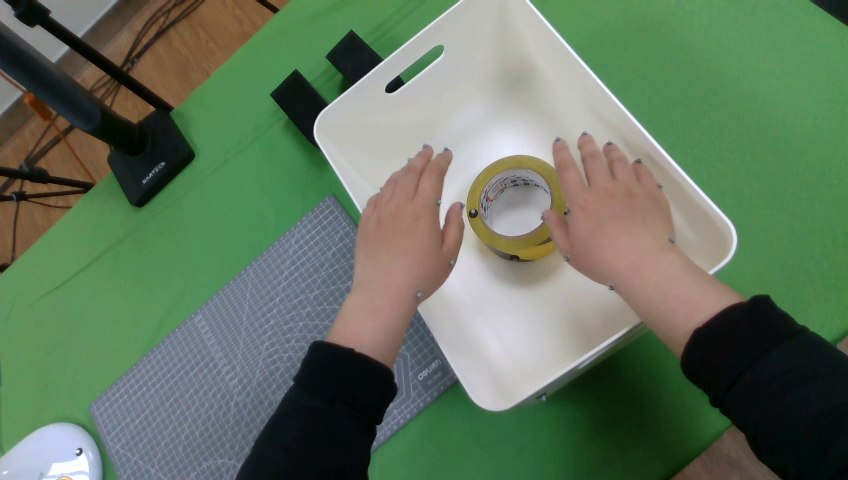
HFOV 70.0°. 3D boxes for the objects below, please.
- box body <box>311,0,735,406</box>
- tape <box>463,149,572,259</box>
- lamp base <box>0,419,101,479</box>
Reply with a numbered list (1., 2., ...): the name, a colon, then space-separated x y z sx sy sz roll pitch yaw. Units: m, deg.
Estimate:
1. box body: 0.087 -0.042 0.627 0.254 0.162 0.361 -36 67 7
2. tape: 0.102 -0.040 0.674 0.116 0.053 0.116 -5 74 17
3. lamp base: -0.536 0.302 0.744 0.178 0.182 0.160 -3 74 21
